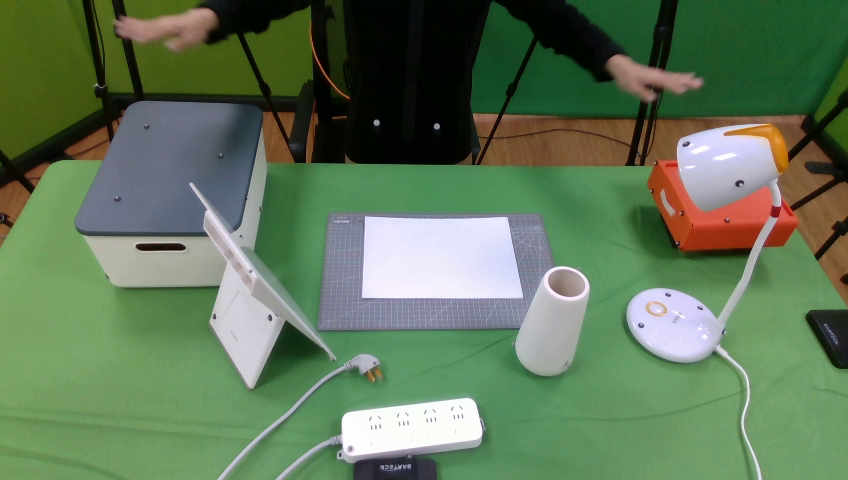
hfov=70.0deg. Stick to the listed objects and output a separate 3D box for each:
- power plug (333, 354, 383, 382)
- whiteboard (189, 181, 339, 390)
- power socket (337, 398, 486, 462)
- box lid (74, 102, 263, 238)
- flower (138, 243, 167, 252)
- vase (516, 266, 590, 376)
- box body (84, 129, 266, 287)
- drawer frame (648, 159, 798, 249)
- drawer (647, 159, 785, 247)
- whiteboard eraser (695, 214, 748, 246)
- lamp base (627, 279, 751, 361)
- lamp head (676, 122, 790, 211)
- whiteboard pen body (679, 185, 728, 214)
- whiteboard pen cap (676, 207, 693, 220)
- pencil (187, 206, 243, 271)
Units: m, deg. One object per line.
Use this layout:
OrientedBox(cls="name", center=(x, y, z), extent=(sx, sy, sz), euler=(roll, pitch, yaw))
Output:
OrientedBox(cls="power plug", center=(-0.103, 0.215, 0.988), extent=(0.072, 0.035, 0.052), euler=(-36, 77, 15))
OrientedBox(cls="whiteboard", center=(-0.292, 0.096, 0.929), extent=(0.144, 0.307, 0.216), euler=(-37, 57, -10))
OrientedBox(cls="power socket", center=(-0.017, 0.285, 0.914), extent=(0.227, 0.033, 0.071), euler=(-4, 46, -8))
OrientedBox(cls="box lid", center=(-0.443, -0.138, 1.094), extent=(0.263, 0.015, 0.369), euler=(0, 46, -5))
OrientedBox(cls="flower", center=(-0.443, -0.043, 1.194), extent=(0.044, 0.038, 0.361), euler=(46, 47, -7))
OrientedBox(cls="vase", center=(0.208, 0.132, 0.964), extent=(0.098, 0.201, 0.097), euler=(3, 46, -3))
OrientedBox(cls="box body", center=(-0.447, -0.088, 1.150), extent=(0.254, 0.161, 0.361), euler=(-1, 46, -5))
OrientedBox(cls="drawer frame", center=(0.588, -0.077, 1.219), extent=(0.214, 0.083, 0.200), euler=(-2, 45, -5))
OrientedBox(cls="drawer", center=(0.582, -0.079, 1.214), extent=(0.212, 0.073, 0.193), euler=(-1, 46, -5))
OrientedBox(cls="whiteboard eraser", center=(0.592, -0.018, 1.209), extent=(0.113, 0.042, 0.055), euler=(12, 27, -36))
OrientedBox(cls="lamp base", center=(0.459, 0.100, 1.027), extent=(0.178, 0.181, 0.160), euler=(27, 51, 17))
OrientedBox(cls="lamp head", center=(0.423, -0.104, 0.819), extent=(0.122, 0.113, 0.112), euler=(-13, 33, 40))
OrientedBox(cls="whiteboard pen body", center=(0.570, -0.081, 1.239), extent=(0.141, 0.017, 0.017), euler=(-26, 53, -21))
OrientedBox(cls="whiteboard pen cap", center=(0.524, -0.053, 1.216), extent=(0.033, 0.018, 0.018), euler=(-28, 54, -23))
OrientedBox(cls="pencil", center=(-0.401, -0.008, 1.176), extent=(0.012, 0.012, 0.193), euler=(15, 44, 10))
